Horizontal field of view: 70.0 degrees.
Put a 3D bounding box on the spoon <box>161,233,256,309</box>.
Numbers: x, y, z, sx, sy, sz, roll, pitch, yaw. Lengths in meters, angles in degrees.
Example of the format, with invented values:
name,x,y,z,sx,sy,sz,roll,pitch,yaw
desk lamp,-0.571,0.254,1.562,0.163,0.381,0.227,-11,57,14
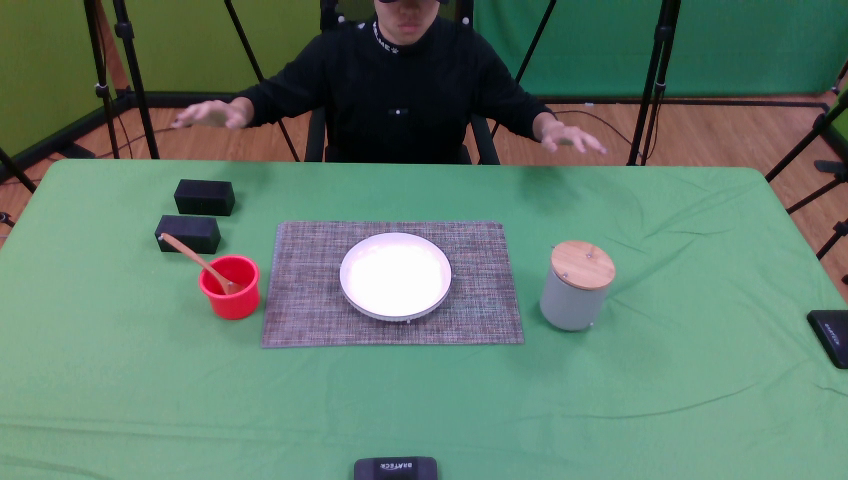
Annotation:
name,x,y,z,sx,sy,sz,roll,pitch,yaw
spoon,-0.366,0.051,1.036,0.194,0.021,0.041,47,45,-21

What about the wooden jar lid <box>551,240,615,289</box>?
name,x,y,z,sx,sy,sz,roll,pitch,yaw
wooden jar lid,0.263,0.044,1.011,0.108,0.021,0.107,4,45,-4

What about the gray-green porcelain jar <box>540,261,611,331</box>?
name,x,y,z,sx,sy,sz,roll,pitch,yaw
gray-green porcelain jar,0.262,0.088,1.058,0.106,0.127,0.105,2,46,-2

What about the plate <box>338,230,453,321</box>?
name,x,y,z,sx,sy,sz,roll,pitch,yaw
plate,-0.052,0.068,1.111,0.208,0.039,0.206,2,46,-2
